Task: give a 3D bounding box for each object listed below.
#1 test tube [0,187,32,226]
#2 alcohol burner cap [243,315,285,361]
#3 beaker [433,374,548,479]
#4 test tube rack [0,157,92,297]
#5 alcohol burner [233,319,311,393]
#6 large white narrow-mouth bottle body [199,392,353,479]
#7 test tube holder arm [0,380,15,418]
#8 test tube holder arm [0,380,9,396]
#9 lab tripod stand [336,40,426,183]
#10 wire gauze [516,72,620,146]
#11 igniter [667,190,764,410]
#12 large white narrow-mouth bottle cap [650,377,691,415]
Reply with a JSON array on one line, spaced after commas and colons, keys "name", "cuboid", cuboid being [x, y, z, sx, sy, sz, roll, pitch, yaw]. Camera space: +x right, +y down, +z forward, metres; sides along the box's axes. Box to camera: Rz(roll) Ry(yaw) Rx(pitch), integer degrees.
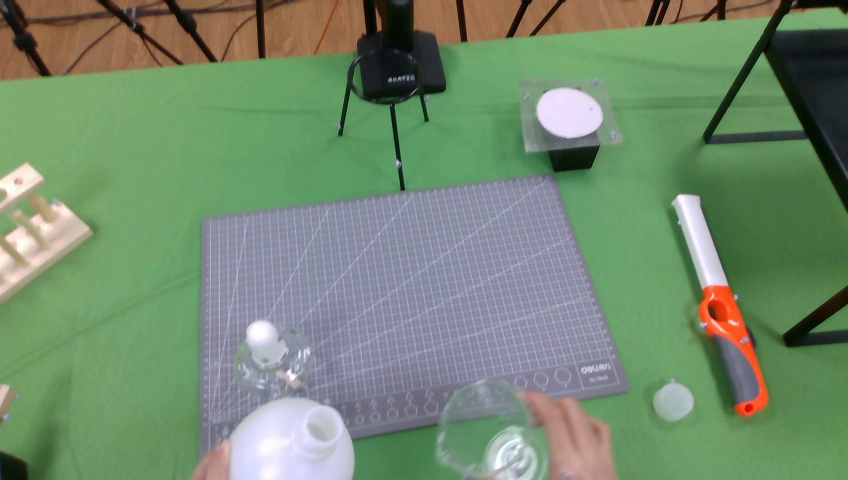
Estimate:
[{"name": "test tube", "cuboid": [-0.471, -0.060, 0.652, 0.017, 0.151, 0.017, -1, 58, 2]}, {"name": "alcohol burner cap", "cuboid": [-0.153, 0.090, 0.571, 0.034, 0.048, 0.033, -1, 55, 1]}, {"name": "beaker", "cuboid": [0.059, 0.168, 0.508, 0.084, 0.101, 0.073, -34, 50, 0]}, {"name": "test tube rack", "cuboid": [-0.503, 0.025, 0.659, 0.066, 0.086, 0.242, 36, 65, 18]}, {"name": "alcohol burner", "cuboid": [-0.153, 0.108, 0.602, 0.078, 0.120, 0.077, 2, 58, -2]}, {"name": "large white narrow-mouth bottle body", "cuboid": [-0.113, 0.178, 0.478, 0.102, 0.195, 0.101, 19, 45, -20]}, {"name": "test tube holder arm", "cuboid": [-0.410, 0.212, 0.537, 0.013, 0.015, 0.177, 3, 60, 7]}, {"name": "test tube holder arm", "cuboid": [-0.412, 0.173, 0.560, 0.010, 0.015, 0.087, 2, 60, 6]}, {"name": "lab tripod stand", "cuboid": [-0.046, -0.166, 0.758, 0.148, 0.132, 0.147, 2, 60, -3]}, {"name": "wire gauze", "cuboid": [0.183, -0.173, 0.784, 0.121, 0.011, 0.124, -1, 59, -2]}, {"name": "igniter", "cuboid": [0.333, 0.059, 0.699, 0.057, 0.025, 0.274, 3, 59, -12]}, {"name": "large white narrow-mouth bottle cap", "cuboid": [0.259, 0.164, 0.640, 0.038, 0.024, 0.037, 1, 59, -1]}]
